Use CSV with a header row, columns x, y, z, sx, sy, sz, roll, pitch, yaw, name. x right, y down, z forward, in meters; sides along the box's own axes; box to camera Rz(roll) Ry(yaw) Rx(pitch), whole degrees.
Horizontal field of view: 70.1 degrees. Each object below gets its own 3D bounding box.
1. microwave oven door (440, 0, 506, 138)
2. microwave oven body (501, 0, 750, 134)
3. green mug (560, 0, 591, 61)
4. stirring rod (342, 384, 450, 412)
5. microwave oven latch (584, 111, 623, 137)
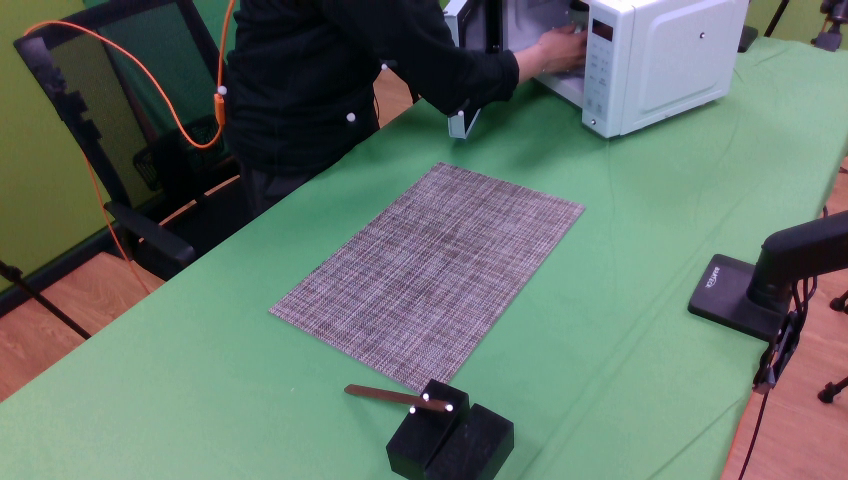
x,y,z,sx,sy,sz,roll,pitch,yaw,name
0.108,-0.406,1.231,0.039,0.245,0.355,7,43,18,microwave oven door
0.382,-0.444,1.246,0.327,0.261,0.437,-22,42,-16,microwave oven body
0.328,-0.433,1.270,0.092,0.105,0.125,12,43,23,green mug
-0.037,0.186,0.714,0.175,0.006,0.014,-3,22,43,stirring rod
0.337,-0.222,1.142,0.030,0.029,0.078,-21,42,-14,microwave oven latch
